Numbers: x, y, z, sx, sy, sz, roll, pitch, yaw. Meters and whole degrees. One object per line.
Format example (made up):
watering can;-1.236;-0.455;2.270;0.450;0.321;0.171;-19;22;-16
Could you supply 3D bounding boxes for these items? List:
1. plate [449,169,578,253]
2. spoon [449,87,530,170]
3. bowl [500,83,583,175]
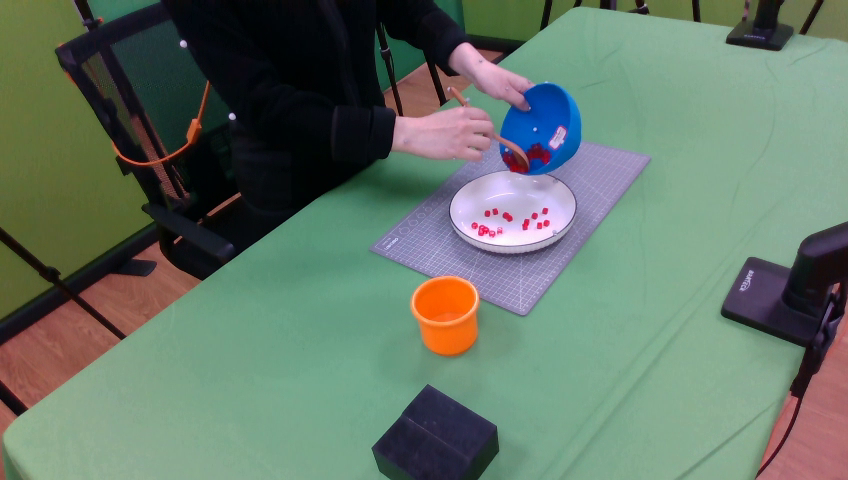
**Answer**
plate;0.146;-0.044;0.993;0.209;0.038;0.208;-5;40;5
spoon;0.104;-0.169;0.932;0.021;0.195;0.041;-50;31;10
bowl;0.204;-0.170;0.985;0.077;0.151;0.150;13;25;-37
